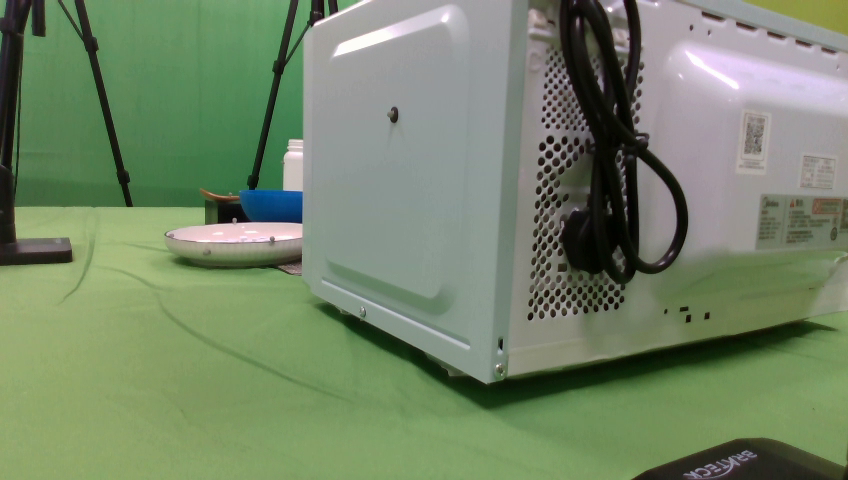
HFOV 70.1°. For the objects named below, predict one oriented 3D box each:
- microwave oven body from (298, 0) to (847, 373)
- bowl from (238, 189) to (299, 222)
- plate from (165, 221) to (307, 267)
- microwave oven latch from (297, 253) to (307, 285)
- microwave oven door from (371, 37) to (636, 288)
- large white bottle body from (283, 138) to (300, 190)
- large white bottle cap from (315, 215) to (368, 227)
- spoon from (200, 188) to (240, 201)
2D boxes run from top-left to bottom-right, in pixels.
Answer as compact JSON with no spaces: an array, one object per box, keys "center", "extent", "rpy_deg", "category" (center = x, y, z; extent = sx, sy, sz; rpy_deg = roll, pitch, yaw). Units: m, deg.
[{"center":[0.151,-0.055,0.542],"extent":[0.444,0.260,0.324],"rpy_deg":[-2,7,-33],"category":"microwave oven body"},{"center":[-0.245,-0.046,1.053],"extent":[0.151,0.077,0.151],"rpy_deg":[3,8,0],"category":"bowl"},{"center":[-0.241,0.004,0.829],"extent":[0.209,0.038,0.209],"rpy_deg":[0,9,0],"category":"plate"},{"center":[-0.082,0.027,0.582],"extent":[0.079,0.029,0.030],"rpy_deg":[-1,7,-32],"category":"microwave oven latch"},{"center":[0.109,-0.080,0.686],"extent":[0.358,0.243,0.039],"rpy_deg":[-2,9,-33],"category":"microwave oven door"},{"center":[-0.265,-0.144,1.423],"extent":[0.131,0.184,0.130],"rpy_deg":[2,7,0],"category":"large white bottle body"},{"center":[-0.177,-0.041,1.309],"extent":[0.115,0.018,0.115],"rpy_deg":[2,6,0],"category":"large white bottle cap"},{"center":[-0.338,-0.080,1.190],"extent":[0.194,0.021,0.041],"rpy_deg":[5,2,-19],"category":"spoon"}]
